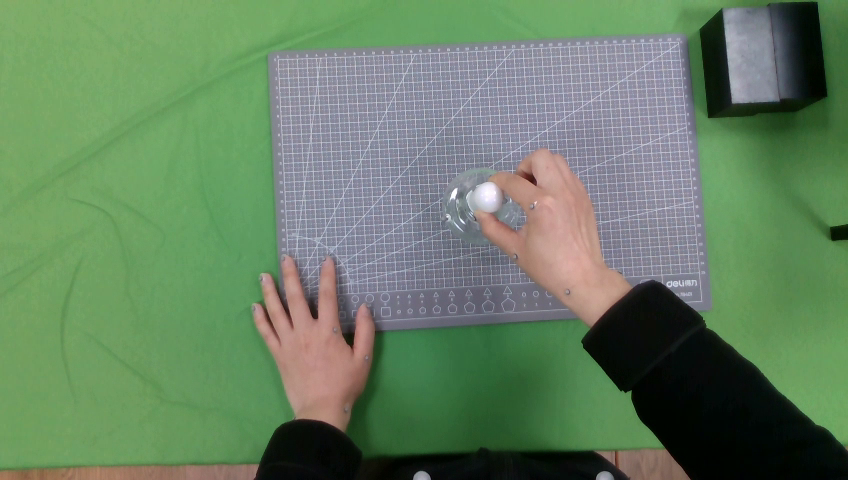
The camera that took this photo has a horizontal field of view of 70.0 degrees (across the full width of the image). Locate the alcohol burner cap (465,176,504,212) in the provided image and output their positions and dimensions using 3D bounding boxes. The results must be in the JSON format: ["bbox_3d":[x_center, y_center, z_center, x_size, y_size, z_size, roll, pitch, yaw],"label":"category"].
[{"bbox_3d":[0.056,-0.043,0.546,0.034,0.048,0.034,0,89,-4],"label":"alcohol burner cap"}]

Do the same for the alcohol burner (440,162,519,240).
[{"bbox_3d":[0.055,-0.039,0.581,0.078,0.119,0.078,0,87,-1],"label":"alcohol burner"}]
